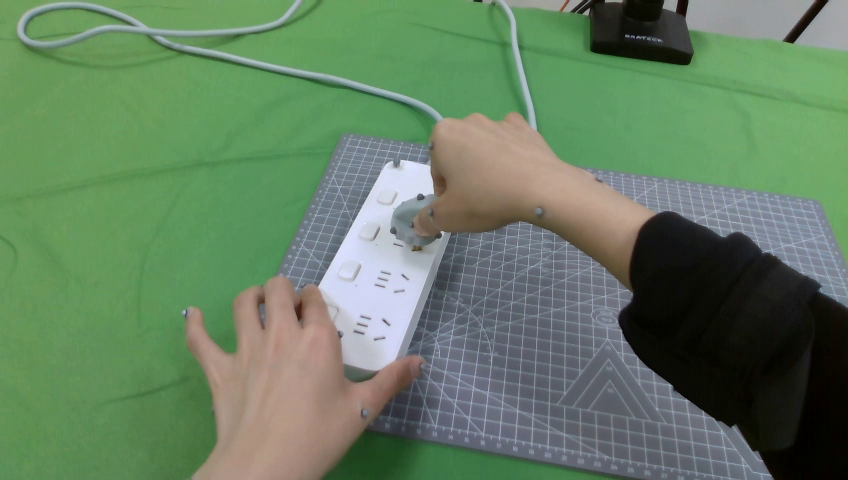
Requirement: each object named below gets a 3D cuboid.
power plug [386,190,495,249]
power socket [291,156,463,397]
[{"bbox_3d":[0.007,-0.006,0.432,0.072,0.053,0.035,30,52,10],"label":"power plug"},{"bbox_3d":[-0.027,0.013,0.454,0.072,0.033,0.225,15,47,8],"label":"power socket"}]
